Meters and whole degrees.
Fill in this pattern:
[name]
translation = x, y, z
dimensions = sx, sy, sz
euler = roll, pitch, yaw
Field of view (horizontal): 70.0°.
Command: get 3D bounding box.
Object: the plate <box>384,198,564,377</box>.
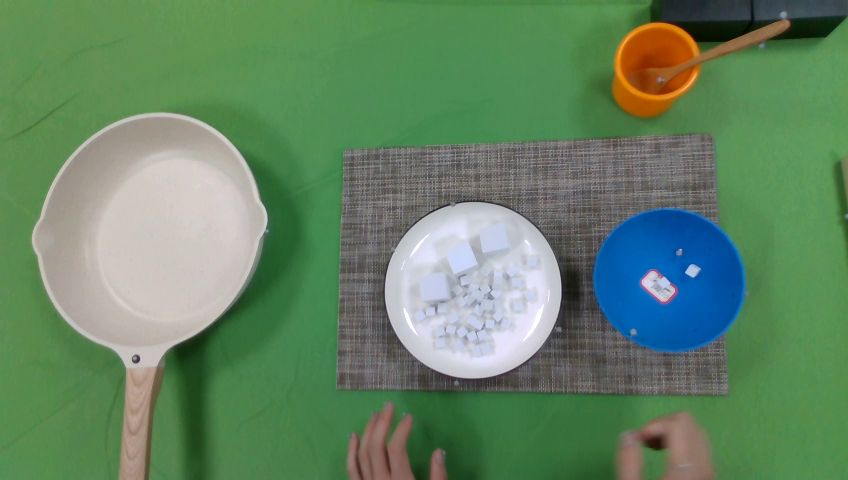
[plate]
translation = 0.058, 0.055, 0.711
dimensions = 0.207, 0.039, 0.207
euler = -1, 81, 8

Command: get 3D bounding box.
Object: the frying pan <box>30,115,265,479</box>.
[frying pan]
translation = -0.333, 0.091, 0.731
dimensions = 0.306, 0.103, 0.484
euler = -4, 73, 9

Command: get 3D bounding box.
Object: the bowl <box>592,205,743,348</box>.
[bowl]
translation = 0.256, 0.043, 0.663
dimensions = 0.151, 0.077, 0.151
euler = -1, 81, 8

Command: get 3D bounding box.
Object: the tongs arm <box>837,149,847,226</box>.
[tongs arm]
translation = 0.495, 0.089, 0.652
dimensions = 0.028, 0.028, 0.386
euler = -7, 81, 5

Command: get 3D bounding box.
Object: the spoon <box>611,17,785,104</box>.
[spoon]
translation = 0.289, -0.194, 0.661
dimensions = 0.022, 0.193, 0.041
euler = -3, 82, -36
